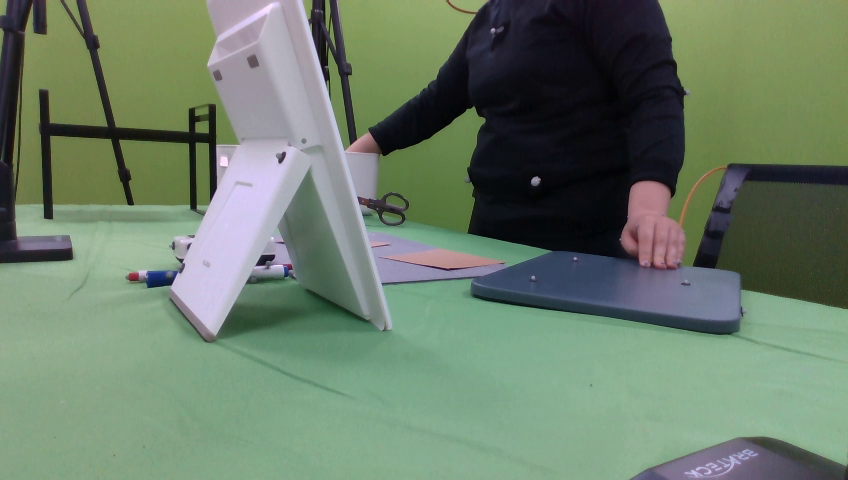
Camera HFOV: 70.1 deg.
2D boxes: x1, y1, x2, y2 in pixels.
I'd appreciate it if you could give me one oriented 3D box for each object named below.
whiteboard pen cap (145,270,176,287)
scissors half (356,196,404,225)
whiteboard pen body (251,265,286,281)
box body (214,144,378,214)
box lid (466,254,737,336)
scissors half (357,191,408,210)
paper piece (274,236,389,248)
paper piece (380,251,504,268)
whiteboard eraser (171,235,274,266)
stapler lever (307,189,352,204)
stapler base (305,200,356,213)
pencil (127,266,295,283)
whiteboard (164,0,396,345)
[{"bbox_3d":[-0.271,0.039,0.627,0.033,0.018,0.018,-3,9,-33],"label":"whiteboard pen cap"},{"bbox_3d":[-0.127,-0.072,1.321,0.175,0.040,0.013,22,4,-5],"label":"scissors half"},{"bbox_3d":[-0.220,0.039,0.656,0.141,0.017,0.017,-2,9,-30],"label":"whiteboard pen body"},{"bbox_3d":[-0.328,-0.154,1.543,0.366,0.160,0.253,-2,9,-32],"label":"box body"},{"bbox_3d":[0.234,0.055,0.735,0.262,0.015,0.373,7,7,27],"label":"box lid"},{"bbox_3d":[-0.123,-0.092,1.318,0.175,0.040,0.013,6,11,-4],"label":"scissors half"},{"bbox_3d":[-0.151,0.003,0.978,0.135,0.008,0.139,13,10,35],"label":"paper piece"},{"bbox_3d":[0.025,0.027,0.865,0.134,0.004,0.136,8,8,43],"label":"paper piece"},{"bbox_3d":[-0.248,0.014,0.747,0.113,0.042,0.055,-1,9,-32],"label":"whiteboard eraser"},{"bbox_3d":[-0.236,-0.111,1.512,0.119,0.040,0.026,-8,6,-39],"label":"stapler lever"},{"bbox_3d":[-0.234,-0.085,1.512,0.131,0.024,0.041,-9,7,-39],"label":"stapler base"},{"bbox_3d":[-0.231,0.037,0.690,0.195,0.012,0.012,-2,9,-34],"label":"pencil"},{"bbox_3d":[-0.173,-0.053,0.511,0.144,0.305,0.216,-23,19,-26],"label":"whiteboard"}]
